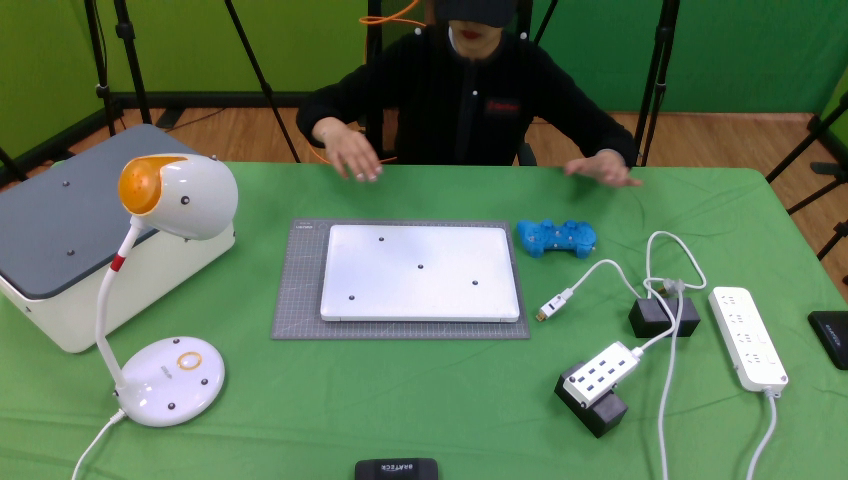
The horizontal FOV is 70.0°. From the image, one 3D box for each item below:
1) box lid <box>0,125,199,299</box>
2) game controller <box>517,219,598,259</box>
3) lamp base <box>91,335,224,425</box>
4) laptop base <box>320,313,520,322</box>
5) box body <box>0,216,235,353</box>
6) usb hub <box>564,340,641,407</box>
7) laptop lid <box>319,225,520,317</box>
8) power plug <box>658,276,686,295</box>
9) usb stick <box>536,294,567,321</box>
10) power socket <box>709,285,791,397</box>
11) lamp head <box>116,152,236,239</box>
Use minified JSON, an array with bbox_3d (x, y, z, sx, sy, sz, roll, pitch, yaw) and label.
[{"bbox_3d":[-0.540,-0.068,1.016,0.262,0.015,0.371,30,51,23],"label":"box lid"},{"bbox_3d":[0.269,-0.012,1.210,0.155,0.052,0.096,1,50,-2],"label":"game controller"},{"bbox_3d":[-0.401,0.170,0.892,0.160,0.181,0.179,30,53,23],"label":"lamp base"},{"bbox_3d":[-0.008,0.062,1.138,0.354,0.023,0.234,0,42,-3],"label":"laptop base"},{"bbox_3d":[-0.550,-0.007,1.068,0.253,0.161,0.363,30,51,23],"label":"box body"},{"bbox_3d":[0.278,0.205,0.944,0.125,0.025,0.049,-27,52,-28],"label":"usb hub"},{"bbox_3d":[-0.008,0.052,1.131,0.357,0.013,0.240,2,43,-2],"label":"laptop lid"},{"bbox_3d":[0.450,0.087,1.113,0.073,0.052,0.035,-12,71,-54],"label":"power plug"},{"bbox_3d":[0.226,0.123,1.083,0.059,0.027,0.021,-38,75,-8],"label":"usb stick"},{"bbox_3d":[0.568,0.167,1.064,0.072,0.033,0.225,2,46,0],"label":"power socket"},{"bbox_3d":[-0.315,-0.057,0.748,0.112,0.112,0.123,26,10,20],"label":"lamp head"}]
